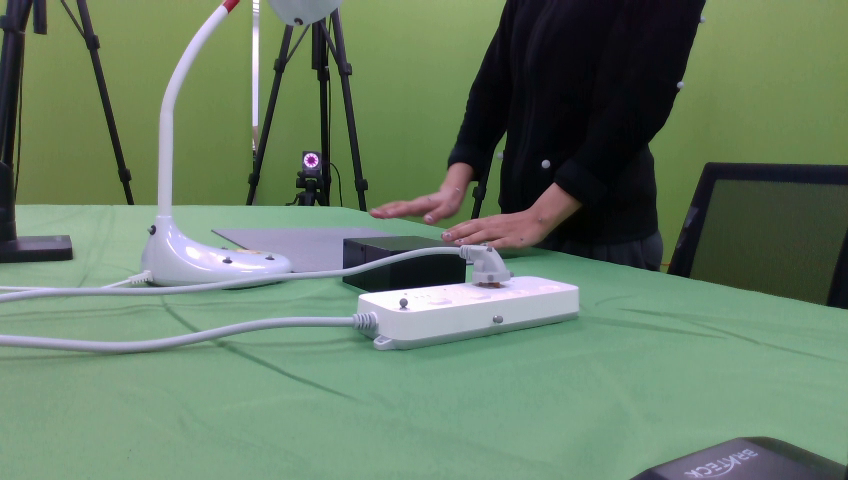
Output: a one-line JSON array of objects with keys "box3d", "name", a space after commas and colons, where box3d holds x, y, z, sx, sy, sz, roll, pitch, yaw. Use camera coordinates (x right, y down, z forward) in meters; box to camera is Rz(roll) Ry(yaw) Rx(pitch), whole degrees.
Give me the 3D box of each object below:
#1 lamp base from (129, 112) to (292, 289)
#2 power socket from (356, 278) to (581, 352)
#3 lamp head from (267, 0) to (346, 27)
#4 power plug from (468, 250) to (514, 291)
[{"box3d": [-0.233, -0.045, 0.658, 0.160, 0.180, 0.180, 7, 11, 29], "name": "lamp base"}, {"box3d": [0.045, 0.059, 0.523, 0.228, 0.032, 0.072, -3, 8, -36], "name": "power socket"}, {"box3d": [-0.157, -0.326, 0.701, 0.112, 0.112, 0.123, 6, -16, 26], "name": "lamp head"}, {"box3d": [0.052, 0.037, 0.529, 0.035, 0.052, 0.073, -10, 3, 38], "name": "power plug"}]
